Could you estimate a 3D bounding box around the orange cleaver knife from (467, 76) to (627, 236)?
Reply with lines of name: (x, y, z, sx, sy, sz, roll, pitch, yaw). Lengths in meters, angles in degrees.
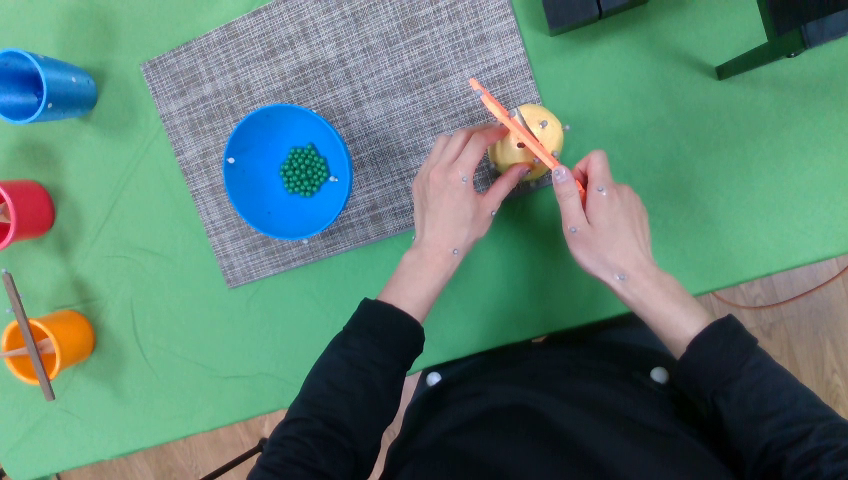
orange cleaver knife: (0.118, -0.079, 0.577, 0.213, 0.076, 0.012, 39, 109, -22)

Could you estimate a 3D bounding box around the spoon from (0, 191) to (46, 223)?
spoon: (-0.595, -0.026, 0.777, 0.194, 0.021, 0.042, -17, 100, -29)

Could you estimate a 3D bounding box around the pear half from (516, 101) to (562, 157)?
pear half: (0.124, -0.120, 0.630, 0.031, 0.088, 0.070, -40, 87, 12)

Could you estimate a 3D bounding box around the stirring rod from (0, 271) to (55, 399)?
stirring rod: (-0.512, 0.124, 0.782, 0.014, 0.006, 0.176, -14, 98, 11)

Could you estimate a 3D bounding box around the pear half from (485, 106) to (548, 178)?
pear half: (0.091, -0.097, 0.631, 0.056, 0.110, 0.076, -37, 86, 15)

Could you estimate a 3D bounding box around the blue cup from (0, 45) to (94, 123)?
blue cup: (-0.463, -0.186, 0.738, 0.092, 0.100, 0.093, 2, 102, 10)

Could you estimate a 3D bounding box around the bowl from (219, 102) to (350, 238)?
bowl: (-0.148, -0.082, 0.700, 0.151, 0.077, 0.152, 2, 101, 12)

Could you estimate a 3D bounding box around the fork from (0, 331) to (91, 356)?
fork: (-0.558, 0.147, 0.798, 0.208, 0.018, 0.028, -6, 113, -31)
